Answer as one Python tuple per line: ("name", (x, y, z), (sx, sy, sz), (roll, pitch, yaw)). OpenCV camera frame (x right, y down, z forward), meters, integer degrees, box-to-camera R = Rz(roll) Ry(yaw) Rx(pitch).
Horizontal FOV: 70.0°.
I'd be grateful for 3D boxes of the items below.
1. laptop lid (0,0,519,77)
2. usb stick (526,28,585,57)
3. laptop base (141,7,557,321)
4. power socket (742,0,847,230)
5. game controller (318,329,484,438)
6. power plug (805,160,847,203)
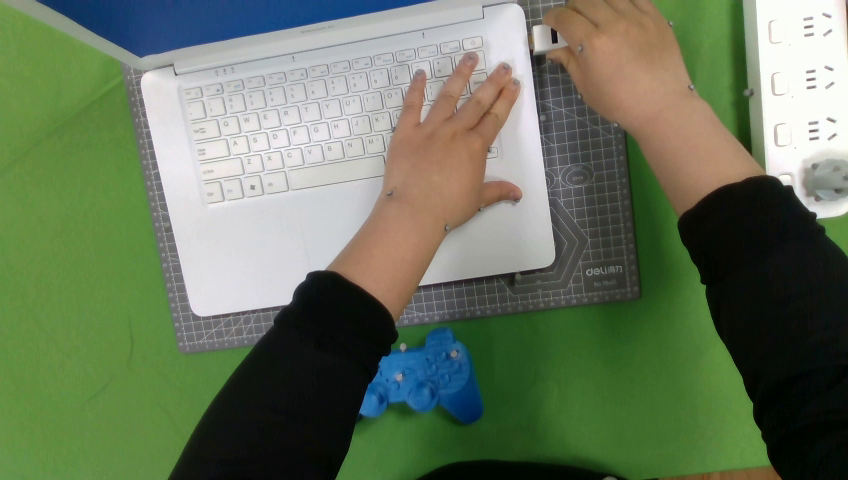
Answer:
("laptop lid", (-0.103, -0.181, 0.427), (0.356, 0.242, 0.013), (-9, 88, 8))
("usb stick", (0.107, -0.170, 0.521), (0.059, 0.027, 0.021), (-2, 103, -1))
("laptop base", (-0.069, -0.063, 0.560), (0.354, 0.023, 0.236), (-9, 100, 6))
("power socket", (0.315, -0.119, 0.511), (0.072, 0.032, 0.227), (-7, 97, 7))
("game controller", (-0.024, 0.138, 0.569), (0.155, 0.051, 0.097), (-7, 92, 5))
("power plug", (0.352, -0.047, 0.498), (0.072, 0.052, 0.035), (4, 96, 0))
